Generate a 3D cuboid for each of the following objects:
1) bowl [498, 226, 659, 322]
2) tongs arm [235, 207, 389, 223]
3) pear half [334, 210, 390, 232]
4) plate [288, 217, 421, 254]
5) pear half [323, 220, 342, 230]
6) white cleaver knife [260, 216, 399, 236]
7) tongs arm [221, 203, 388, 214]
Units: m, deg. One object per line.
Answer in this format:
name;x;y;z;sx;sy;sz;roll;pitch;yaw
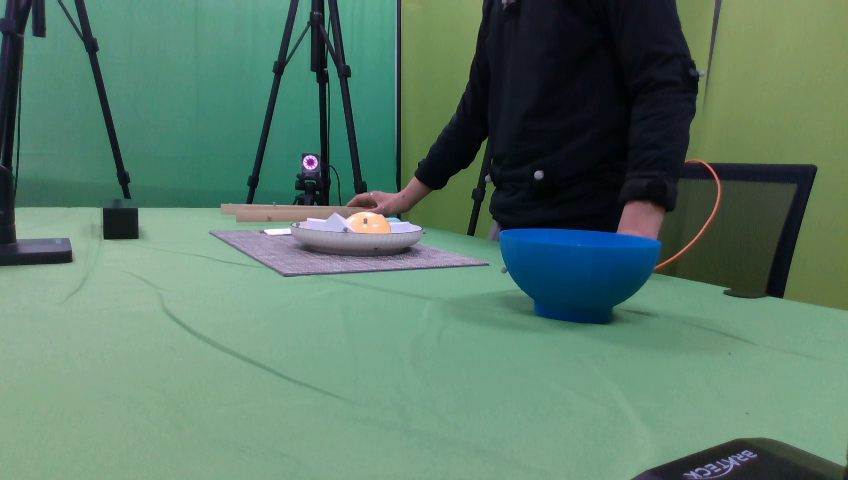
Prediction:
bowl;0.145;0.032;0.584;0.151;0.077;0.151;2;7;0
tongs arm;-0.231;-0.056;1.350;0.390;0.028;0.028;-3;6;-38
pear half;-0.108;-0.017;0.920;0.110;0.056;0.076;-4;5;-20
plate;-0.109;-0.007;0.956;0.208;0.039;0.207;2;7;0
pear half;-0.127;-0.019;1.001;0.088;0.031;0.070;8;4;1
white cleaver knife;-0.169;-0.021;1.156;0.288;0.021;0.065;-7;20;-33
tongs arm;-0.270;-0.069;1.417;0.387;0.026;0.050;0;8;-26
